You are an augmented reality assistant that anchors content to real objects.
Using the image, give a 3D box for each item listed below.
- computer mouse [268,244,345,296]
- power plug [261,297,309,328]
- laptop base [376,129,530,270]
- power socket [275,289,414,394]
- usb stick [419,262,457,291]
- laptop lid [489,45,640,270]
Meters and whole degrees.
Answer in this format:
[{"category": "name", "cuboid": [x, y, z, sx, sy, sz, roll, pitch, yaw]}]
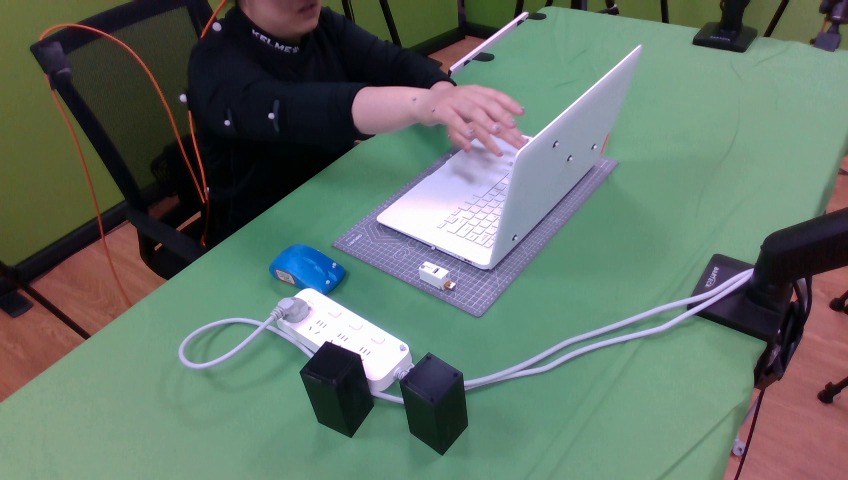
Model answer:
[{"category": "computer mouse", "cuboid": [-0.182, 0.044, 0.933, 0.116, 0.041, 0.063, 22, 46, 25]}, {"category": "power plug", "cuboid": [-0.193, 0.107, 0.831, 0.073, 0.053, 0.035, -33, 43, -25]}, {"category": "laptop base", "cuboid": [0.115, -0.086, 1.057, 0.233, 0.023, 0.355, 21, 48, 34]}, {"category": "power socket", "cuboid": [-0.115, 0.133, 0.820, 0.225, 0.033, 0.072, 25, 49, 32]}, {"category": "usb stick", "cuboid": [0.022, 0.056, 0.891, 0.058, 0.027, 0.021, 25, 49, 32]}, {"category": "laptop lid", "cuboid": [0.214, -0.125, 0.907, 0.013, 0.242, 0.358, 33, 52, 22]}]
